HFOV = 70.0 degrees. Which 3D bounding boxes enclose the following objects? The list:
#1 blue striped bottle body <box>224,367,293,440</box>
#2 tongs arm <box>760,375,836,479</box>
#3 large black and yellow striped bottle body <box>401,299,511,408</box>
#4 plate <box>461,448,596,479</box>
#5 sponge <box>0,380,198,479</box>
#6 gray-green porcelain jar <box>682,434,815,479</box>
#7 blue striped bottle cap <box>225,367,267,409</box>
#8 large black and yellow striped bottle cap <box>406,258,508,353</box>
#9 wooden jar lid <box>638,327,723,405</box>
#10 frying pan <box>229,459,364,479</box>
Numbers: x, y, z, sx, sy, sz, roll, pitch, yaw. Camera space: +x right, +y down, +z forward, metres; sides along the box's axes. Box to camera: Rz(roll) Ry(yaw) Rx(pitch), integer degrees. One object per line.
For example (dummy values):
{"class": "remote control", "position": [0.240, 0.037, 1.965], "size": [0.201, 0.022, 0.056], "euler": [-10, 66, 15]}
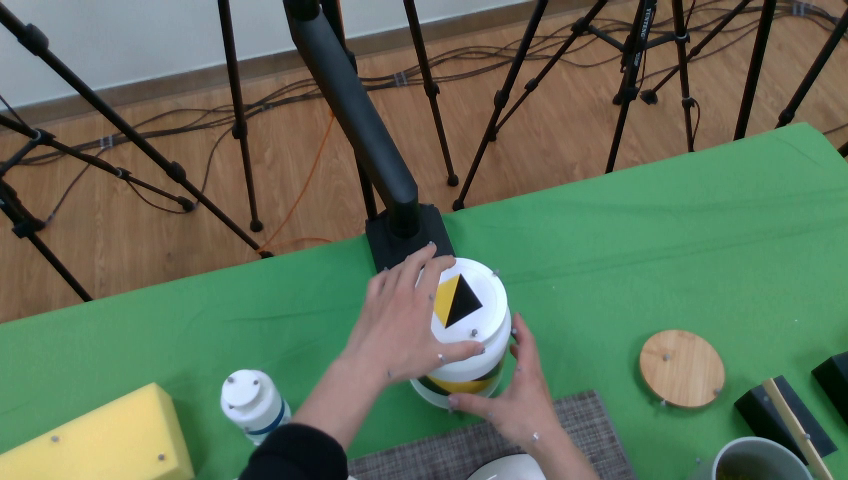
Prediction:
{"class": "blue striped bottle body", "position": [-0.204, 0.198, 0.742], "size": [0.063, 0.122, 0.062], "euler": [-1, 57, 1]}
{"class": "tongs arm", "position": [0.496, 0.321, 0.660], "size": [0.051, 0.027, 0.381], "euler": [-18, 68, -12]}
{"class": "large black and yellow striped bottle body", "position": [0.039, 0.118, 0.750], "size": [0.131, 0.185, 0.129], "euler": [-1, 56, 2]}
{"class": "plate", "position": [0.122, 0.344, 0.683], "size": [0.209, 0.038, 0.207], "euler": [-1, 57, 1]}
{"class": "sponge", "position": [-0.398, 0.276, 0.734], "size": [0.207, 0.061, 0.117], "euler": [-26, 60, -15]}
{"class": "gray-green porcelain jar", "position": [0.349, 0.283, 0.668], "size": [0.106, 0.127, 0.105], "euler": [-1, 57, 1]}
{"class": "blue striped bottle cap", "position": [-0.206, 0.170, 0.699], "size": [0.044, 0.021, 0.044], "euler": [-2, 55, 3]}
{"class": "large black and yellow striped bottle cap", "position": [0.036, 0.071, 0.678], "size": [0.115, 0.019, 0.114], "euler": [-1, 55, 2]}
{"class": "wooden jar lid", "position": [0.340, 0.168, 0.807], "size": [0.108, 0.021, 0.107], "euler": [-1, 58, 1]}
{"class": "frying pan", "position": [-0.080, 0.446, 0.584], "size": [0.307, 0.104, 0.483], "euler": [-35, 54, -18]}
